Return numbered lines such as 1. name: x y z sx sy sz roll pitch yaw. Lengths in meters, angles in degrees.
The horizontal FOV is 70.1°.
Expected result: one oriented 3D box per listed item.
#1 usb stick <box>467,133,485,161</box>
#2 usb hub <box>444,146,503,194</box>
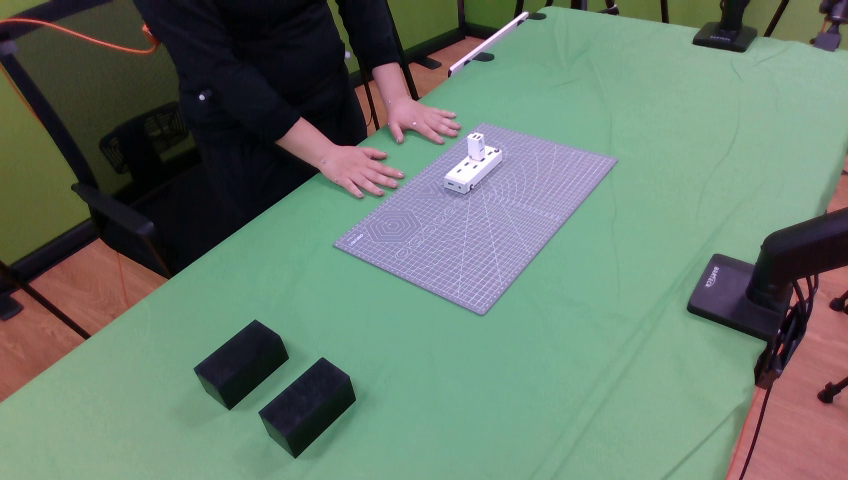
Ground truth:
1. usb stick: 0.095 -0.162 1.096 0.027 0.059 0.021 21 48 27
2. usb hub: 0.091 -0.129 1.102 0.049 0.025 0.125 23 49 30
